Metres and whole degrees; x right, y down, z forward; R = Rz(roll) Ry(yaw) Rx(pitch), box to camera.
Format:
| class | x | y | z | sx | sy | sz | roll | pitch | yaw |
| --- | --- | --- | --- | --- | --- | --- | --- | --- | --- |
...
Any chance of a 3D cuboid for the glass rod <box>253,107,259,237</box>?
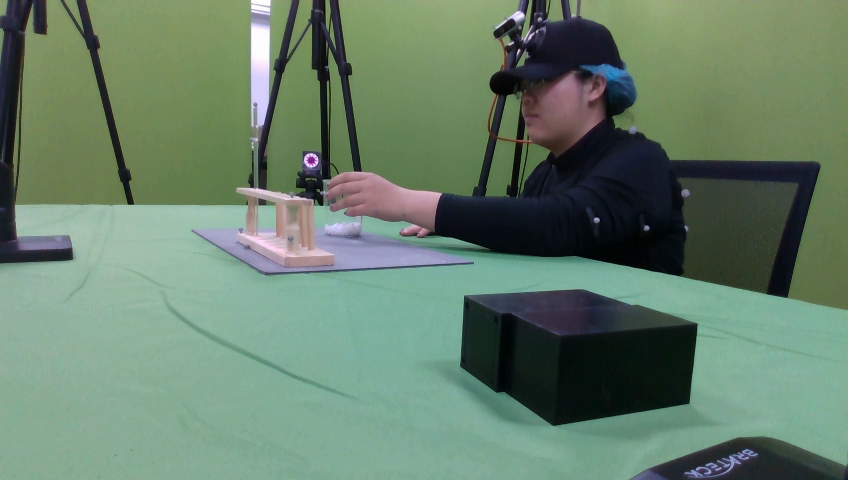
| class | x | y | z | sx | sy | sz | roll | pitch | yaw |
| --- | --- | --- | --- | --- | --- | --- | --- | --- | --- |
| glass rod | -0.254 | -0.101 | 0.912 | 0.008 | 0.199 | 0.008 | 1 | 4 | 0 |

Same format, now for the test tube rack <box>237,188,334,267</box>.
| class | x | y | z | sx | sy | sz | roll | pitch | yaw |
| --- | --- | --- | --- | --- | --- | --- | --- | --- | --- |
| test tube rack | -0.202 | -0.024 | 0.855 | 0.067 | 0.085 | 0.241 | -2 | 8 | -30 |

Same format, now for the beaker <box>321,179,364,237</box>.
| class | x | y | z | sx | sy | sz | roll | pitch | yaw |
| --- | --- | --- | --- | --- | --- | --- | --- | --- | --- |
| beaker | -0.143 | -0.058 | 1.084 | 0.083 | 0.100 | 0.074 | 10 | 11 | 43 |
